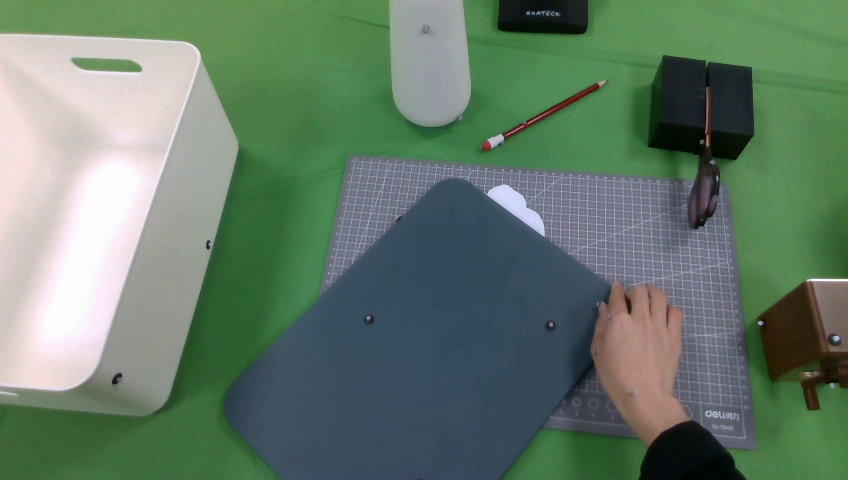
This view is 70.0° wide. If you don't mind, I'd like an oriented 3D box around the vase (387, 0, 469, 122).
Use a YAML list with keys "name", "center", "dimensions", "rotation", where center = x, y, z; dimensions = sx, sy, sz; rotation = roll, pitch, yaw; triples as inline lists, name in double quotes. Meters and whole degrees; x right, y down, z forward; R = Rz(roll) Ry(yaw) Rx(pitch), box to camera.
- name: "vase"
  center: [0.002, -0.225, 0.685]
  dimensions: [0.098, 0.201, 0.097]
  rotation: [-1, 63, 3]

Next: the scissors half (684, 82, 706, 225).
- name: "scissors half"
  center: [0.309, -0.100, 0.684]
  dimensions: [0.013, 0.040, 0.174]
  rotation: [10, 78, 3]

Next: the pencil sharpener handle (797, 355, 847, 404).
- name: "pencil sharpener handle"
  center: [0.363, 0.126, 0.540]
  dimensions: [0.036, 0.068, 0.030]
  rotation: [7, 64, -10]

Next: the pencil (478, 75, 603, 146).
- name: "pencil"
  center: [0.149, -0.165, 0.756]
  dimensions: [0.194, 0.012, 0.012]
  rotation: [-30, 66, -13]

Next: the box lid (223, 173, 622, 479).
- name: "box lid"
  center: [0.004, 0.111, 0.628]
  dimensions: [0.261, 0.015, 0.371]
  rotation: [39, 72, 18]

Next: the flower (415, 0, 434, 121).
- name: "flower"
  center: [-0.008, -0.274, 0.617]
  dimensions: [0.044, 0.365, 0.038]
  rotation: [-2, 47, 6]

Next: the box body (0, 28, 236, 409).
- name: "box body"
  center: [-0.364, -0.020, 0.623]
  dimensions: [0.254, 0.161, 0.361]
  rotation: [4, 65, 4]

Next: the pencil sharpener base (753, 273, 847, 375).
- name: "pencil sharpener base"
  center: [0.369, 0.085, 0.573]
  dimensions: [0.061, 0.108, 0.076]
  rotation: [1, 65, 3]

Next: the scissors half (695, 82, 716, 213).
- name: "scissors half"
  center: [0.308, -0.108, 0.666]
  dimensions: [0.013, 0.040, 0.174]
  rotation: [7, 60, 8]
